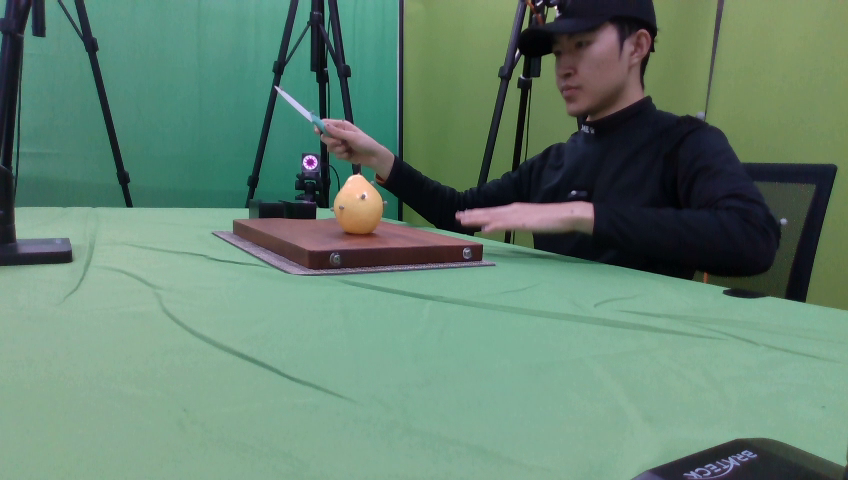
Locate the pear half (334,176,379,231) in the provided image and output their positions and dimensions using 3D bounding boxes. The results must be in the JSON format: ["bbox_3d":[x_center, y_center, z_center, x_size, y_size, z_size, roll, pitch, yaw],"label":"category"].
[{"bbox_3d":[-0.109,-0.058,0.953,0.071,0.088,0.031,-8,12,-21],"label":"pear half"}]

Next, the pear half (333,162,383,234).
[{"bbox_3d":[-0.098,-0.063,0.918,0.076,0.110,0.055,-5,10,-20],"label":"pear half"}]

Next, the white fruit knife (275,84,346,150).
[{"bbox_3d":[-0.231,-0.253,1.247,0.016,0.027,0.208,-27,-42,23],"label":"white fruit knife"}]
